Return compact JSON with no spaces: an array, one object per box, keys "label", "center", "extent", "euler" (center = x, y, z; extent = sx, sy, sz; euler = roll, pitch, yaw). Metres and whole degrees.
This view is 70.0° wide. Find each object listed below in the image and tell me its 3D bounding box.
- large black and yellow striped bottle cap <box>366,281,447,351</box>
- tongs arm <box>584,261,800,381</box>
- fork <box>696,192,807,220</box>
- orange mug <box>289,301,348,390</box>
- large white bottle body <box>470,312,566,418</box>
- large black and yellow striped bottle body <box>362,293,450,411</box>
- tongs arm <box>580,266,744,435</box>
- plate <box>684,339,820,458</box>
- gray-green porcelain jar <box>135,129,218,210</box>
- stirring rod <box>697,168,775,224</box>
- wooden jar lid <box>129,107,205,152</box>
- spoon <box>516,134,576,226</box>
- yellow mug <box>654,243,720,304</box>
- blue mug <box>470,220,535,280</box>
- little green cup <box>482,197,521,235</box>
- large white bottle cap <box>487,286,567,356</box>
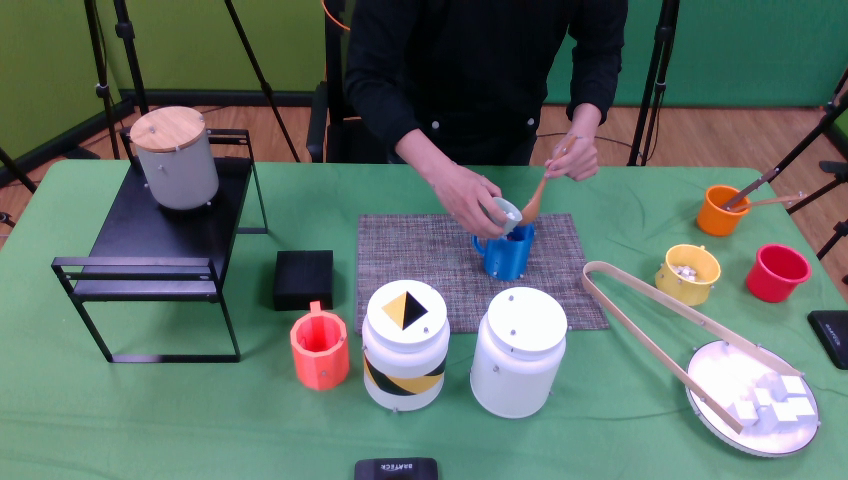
[{"label":"large black and yellow striped bottle cap","center":[-0.025,0.106,0.865],"extent":[0.115,0.019,0.114],"euler":[2,46,-1]},{"label":"tongs arm","center":[0.452,0.137,1.064],"extent":[0.051,0.027,0.382],"euler":[-34,50,-27]},{"label":"fork","center":[0.655,-0.069,1.224],"extent":[0.207,0.019,0.028],"euler":[-17,33,45]},{"label":"orange mug","center":[-0.170,0.162,0.976],"extent":[0.083,0.101,0.125],"euler":[-7,52,-12]},{"label":"large white bottle body","center":[0.143,0.173,0.930],"extent":[0.131,0.185,0.130],"euler":[2,46,-2]},{"label":"large black and yellow striped bottle body","center":[-0.029,0.163,0.928],"extent":[0.131,0.185,0.130],"euler":[2,47,-2]},{"label":"tongs arm","center":[0.384,0.173,1.028],"extent":[0.028,0.028,0.385],"euler":[-25,46,-15]},{"label":"plate","center":[0.523,0.256,0.982],"extent":[0.208,0.039,0.206],"euler":[2,46,-2]},{"label":"gray-green porcelain jar","center":[-0.388,-0.120,0.960],"extent":[0.106,0.127,0.105],"euler":[2,46,-2]},{"label":"stirring rod","center":[0.644,-0.090,1.252],"extent":[0.176,0.006,0.014],"euler":[-40,53,16]},{"label":"wooden jar lid","center":[-0.385,-0.163,0.915],"extent":[0.108,0.021,0.107],"euler":[2,47,-2]},{"label":"spoon","center":[0.205,-0.099,1.039],"extent":[0.042,0.194,0.021],"euler":[4,34,-32]},{"label":"yellow mug","center":[0.504,0.054,1.154],"extent":[0.099,0.064,0.130],"euler":[29,50,22]},{"label":"blue mug","center":[0.142,0.005,1.140],"extent":[0.116,0.106,0.082],"euler":[20,48,14]},{"label":"little green cup","center":[0.129,-0.039,1.019],"extent":[0.062,0.039,0.061],"euler":[23,31,-15]},{"label":"large white bottle cap","center":[0.147,0.114,0.869],"extent":[0.115,0.018,0.114],"euler":[3,46,-3]}]
